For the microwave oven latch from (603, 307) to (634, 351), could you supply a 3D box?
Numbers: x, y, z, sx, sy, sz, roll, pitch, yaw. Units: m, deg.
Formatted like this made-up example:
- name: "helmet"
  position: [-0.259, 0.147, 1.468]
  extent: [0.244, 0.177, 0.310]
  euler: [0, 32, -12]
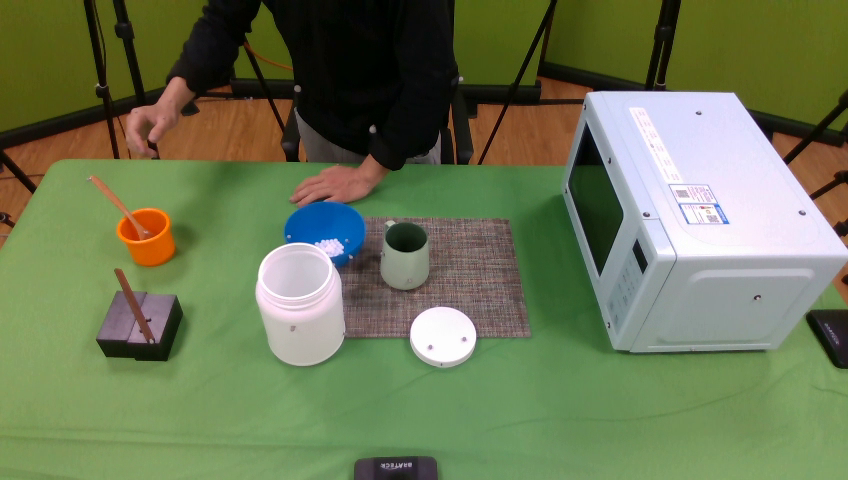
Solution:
- name: "microwave oven latch"
  position: [0.332, 0.153, 1.044]
  extent: [0.030, 0.029, 0.078]
  euler: [0, 45, -4]

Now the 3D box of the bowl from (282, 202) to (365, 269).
- name: "bowl"
  position: [-0.186, 0.006, 1.136]
  extent: [0.151, 0.077, 0.150]
  euler: [3, 46, -3]

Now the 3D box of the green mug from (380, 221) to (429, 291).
- name: "green mug"
  position: [-0.043, 0.020, 1.116]
  extent: [0.092, 0.105, 0.124]
  euler: [-20, 50, -21]

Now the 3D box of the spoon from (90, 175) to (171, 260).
- name: "spoon"
  position: [-0.539, -0.042, 1.111]
  extent: [0.021, 0.194, 0.041]
  euler: [-13, 27, 52]

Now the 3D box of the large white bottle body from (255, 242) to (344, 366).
- name: "large white bottle body"
  position: [-0.196, 0.102, 0.967]
  extent: [0.131, 0.185, 0.130]
  euler: [2, 49, -2]

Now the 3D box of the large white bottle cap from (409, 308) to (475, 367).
- name: "large white bottle cap"
  position: [0.031, 0.165, 1.041]
  extent: [0.115, 0.018, 0.114]
  euler: [2, 47, -2]

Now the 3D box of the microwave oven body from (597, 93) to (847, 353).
- name: "microwave oven body"
  position: [0.475, -0.041, 1.109]
  extent: [0.326, 0.261, 0.438]
  euler: [-1, 45, -4]

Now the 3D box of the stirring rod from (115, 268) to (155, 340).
- name: "stirring rod"
  position: [-0.479, 0.103, 0.999]
  extent: [0.014, 0.006, 0.175]
  euler: [7, 32, -49]

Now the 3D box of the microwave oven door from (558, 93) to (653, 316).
- name: "microwave oven door"
  position: [0.327, -0.074, 1.123]
  extent: [0.039, 0.245, 0.353]
  euler: [-1, 46, -5]
